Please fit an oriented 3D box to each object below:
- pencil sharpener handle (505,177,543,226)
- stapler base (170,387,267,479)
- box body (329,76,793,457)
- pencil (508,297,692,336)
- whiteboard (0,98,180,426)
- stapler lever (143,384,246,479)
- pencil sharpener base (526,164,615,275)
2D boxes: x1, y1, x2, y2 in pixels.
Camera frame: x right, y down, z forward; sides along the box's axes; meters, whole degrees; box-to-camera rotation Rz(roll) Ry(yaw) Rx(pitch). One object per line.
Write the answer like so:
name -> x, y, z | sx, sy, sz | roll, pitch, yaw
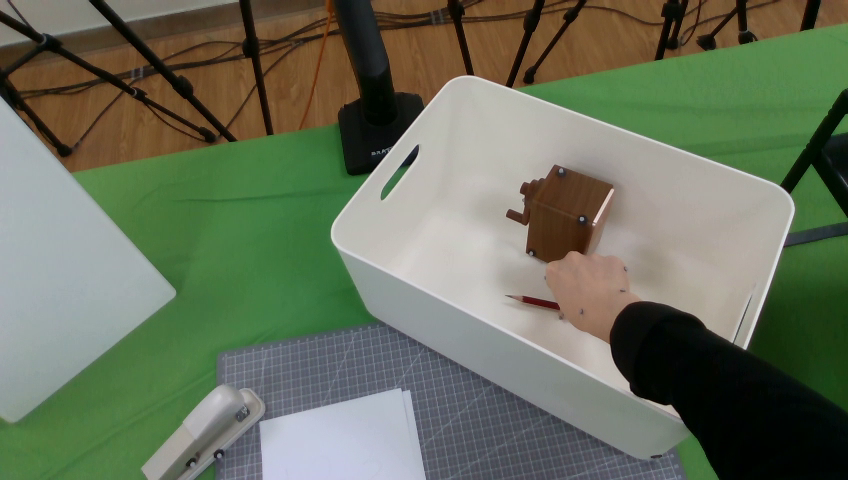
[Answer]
pencil sharpener handle -> 0.109, -0.045, 0.672 | 0.030, 0.068, 0.036 | 24, 47, 20
stapler base -> -0.223, 0.202, 0.618 | 0.130, 0.025, 0.041 | -43, 60, -16
box body -> 0.128, 0.020, 0.617 | 0.362, 0.162, 0.253 | 25, 63, 19
pencil -> 0.186, 0.081, 0.656 | 0.193, 0.012, 0.012 | 9, 59, 15
whiteboard -> -0.456, 0.004, 0.634 | 0.217, 0.309, 0.142 | -41, 44, -18
stapler lever -> -0.227, 0.191, 0.596 | 0.118, 0.040, 0.026 | -42, 59, -16
pencil sharpener base -> 0.155, -0.021, 0.667 | 0.076, 0.108, 0.061 | 24, 62, 20
